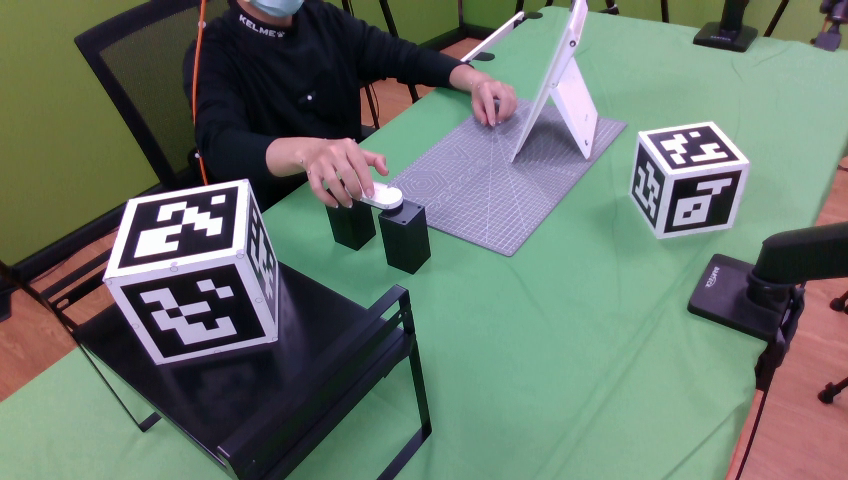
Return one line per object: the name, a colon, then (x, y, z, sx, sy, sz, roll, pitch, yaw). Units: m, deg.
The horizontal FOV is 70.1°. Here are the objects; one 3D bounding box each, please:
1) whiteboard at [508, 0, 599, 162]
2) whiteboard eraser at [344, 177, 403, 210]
whiteboard: (0.285, -0.289, 1.090, 0.144, 0.305, 0.217, 22, 45, 3)
whiteboard eraser: (-0.077, -0.071, 0.910, 0.100, 0.019, 0.041, 19, 47, 30)
